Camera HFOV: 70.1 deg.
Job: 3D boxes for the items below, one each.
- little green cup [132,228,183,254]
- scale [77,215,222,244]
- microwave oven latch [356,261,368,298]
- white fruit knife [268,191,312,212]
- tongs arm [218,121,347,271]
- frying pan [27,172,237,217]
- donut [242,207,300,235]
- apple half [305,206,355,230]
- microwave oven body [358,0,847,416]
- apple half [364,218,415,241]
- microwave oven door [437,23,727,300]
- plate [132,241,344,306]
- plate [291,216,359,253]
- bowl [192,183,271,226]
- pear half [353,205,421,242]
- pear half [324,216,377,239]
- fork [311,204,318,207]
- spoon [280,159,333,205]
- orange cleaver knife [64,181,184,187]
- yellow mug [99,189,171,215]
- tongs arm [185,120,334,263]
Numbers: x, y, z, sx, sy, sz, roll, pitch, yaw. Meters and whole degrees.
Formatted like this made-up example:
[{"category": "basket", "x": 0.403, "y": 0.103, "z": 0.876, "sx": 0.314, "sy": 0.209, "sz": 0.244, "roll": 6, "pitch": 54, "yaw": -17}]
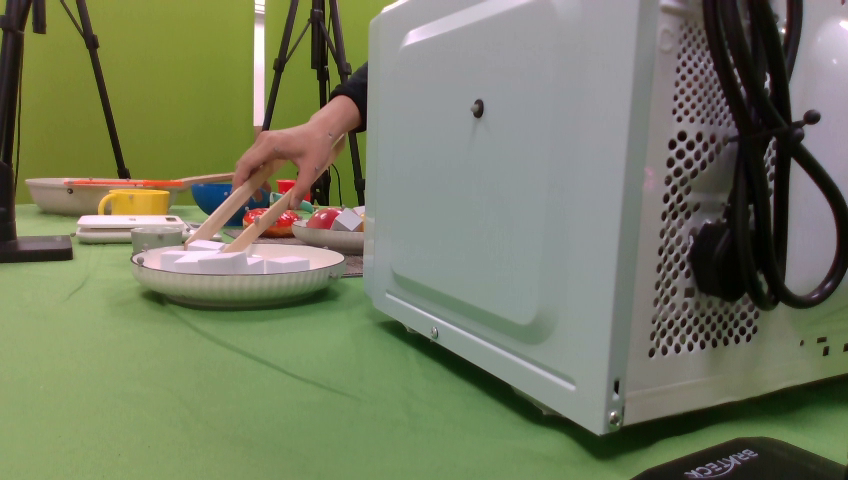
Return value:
[{"category": "little green cup", "x": -0.342, "y": 0.006, "z": 0.779, "sx": 0.061, "sy": 0.038, "sz": 0.061, "roll": 2, "pitch": 8, "yaw": 0}, {"category": "scale", "x": -0.434, "y": -0.019, "z": 0.963, "sx": 0.202, "sy": 0.031, "sz": 0.148, "roll": -1, "pitch": 9, "yaw": -27}, {"category": "microwave oven latch", "x": -0.020, "y": 0.033, "z": 0.530, "sx": 0.079, "sy": 0.029, "sz": 0.030, "roll": 0, "pitch": 7, "yaw": -26}, {"category": "white fruit knife", "x": -0.364, "y": -0.105, "z": 1.464, "sx": 0.208, "sy": 0.027, "sz": 0.016, "roll": 15, "pitch": -1, "yaw": -34}, {"category": "tongs arm", "x": -0.182, "y": -0.078, "z": 0.814, "sx": 0.050, "sy": 0.026, "sz": 0.385, "roll": 15, "pitch": 35, "yaw": 12}, {"category": "frying pan", "x": -0.624, "y": -0.118, "z": 1.387, "sx": 0.305, "sy": 0.102, "sz": 0.490, "roll": 8, "pitch": 17, "yaw": 32}, {"category": "donut", "x": -0.262, "y": -0.031, "z": 1.039, "sx": 0.099, "sy": 0.048, "sz": 0.099, "roll": 4, "pitch": 10, "yaw": 0}, {"category": "apple half", "x": -0.138, "y": -0.025, "z": 0.917, "sx": 0.081, "sy": 0.053, "sz": 0.074, "roll": 0, "pitch": 10, "yaw": -43}, {"category": "microwave oven body", "x": 0.211, "y": -0.047, "z": 0.475, "sx": 0.444, "sy": 0.260, "sz": 0.324, "roll": -1, "pitch": 8, "yaw": -28}, {"category": "apple half", "x": -0.054, "y": -0.019, "z": 0.967, "sx": 0.081, "sy": 0.033, "sz": 0.081, "roll": -3, "pitch": 11, "yaw": 1}, {"category": "microwave oven door", "x": 0.181, "y": -0.073, "z": 0.621, "sx": 0.358, "sy": 0.243, "sz": 0.039, "roll": -2, "pitch": 8, "yaw": -29}, {"category": "plate", "x": -0.187, "y": 0.033, "z": 0.625, "sx": 0.208, "sy": 0.039, "sz": 0.207, "roll": 2, "pitch": 8, "yaw": 0}, {"category": "plate", "x": -0.103, "y": -0.009, "z": 0.945, "sx": 0.209, "sy": 0.038, "sz": 0.209, "roll": 2, "pitch": 7, "yaw": 0}, {"category": "bowl", "x": -0.382, "y": -0.071, "z": 1.202, "sx": 0.151, "sy": 0.077, "sz": 0.151, "roll": 3, "pitch": 7, "yaw": 0}, {"category": "pear half", "x": -0.051, "y": -0.024, "z": 0.905, "sx": 0.110, "sy": 0.056, "sz": 0.076, "roll": 2, "pitch": -2, "yaw": -38}, {"category": "pear half", "x": -0.119, "y": -0.023, "z": 0.996, "sx": 0.088, "sy": 0.031, "sz": 0.070, "roll": -3, "pitch": 22, "yaw": -27}, {"category": "fork", "x": -0.356, "y": -0.105, "z": 1.526, "sx": 0.208, "sy": 0.018, "sz": 0.028, "roll": 16, "pitch": -5, "yaw": -41}, {"category": "spoon", "x": -0.317, "y": -0.159, "z": 1.640, "sx": 0.194, "sy": 0.022, "sz": 0.041, "roll": -49, "pitch": 32, "yaw": -20}, {"category": "orange cleaver knife", "x": -0.596, "y": -0.113, "z": 1.212, "sx": 0.212, "sy": 0.012, "sz": 0.077, "roll": -3, "pitch": 7, "yaw": -41}, {"category": "yellow mug", "x": -0.519, "y": -0.055, "z": 1.080, "sx": 0.099, "sy": 0.064, "sz": 0.131, "roll": 7, "pitch": 10, "yaw": 26}, {"category": "tongs arm", "x": -0.207, "y": -0.084, "z": 0.818, "sx": 0.028, "sy": 0.028, "sz": 0.387, "roll": 10, "pitch": 34, "yaw": 11}]
